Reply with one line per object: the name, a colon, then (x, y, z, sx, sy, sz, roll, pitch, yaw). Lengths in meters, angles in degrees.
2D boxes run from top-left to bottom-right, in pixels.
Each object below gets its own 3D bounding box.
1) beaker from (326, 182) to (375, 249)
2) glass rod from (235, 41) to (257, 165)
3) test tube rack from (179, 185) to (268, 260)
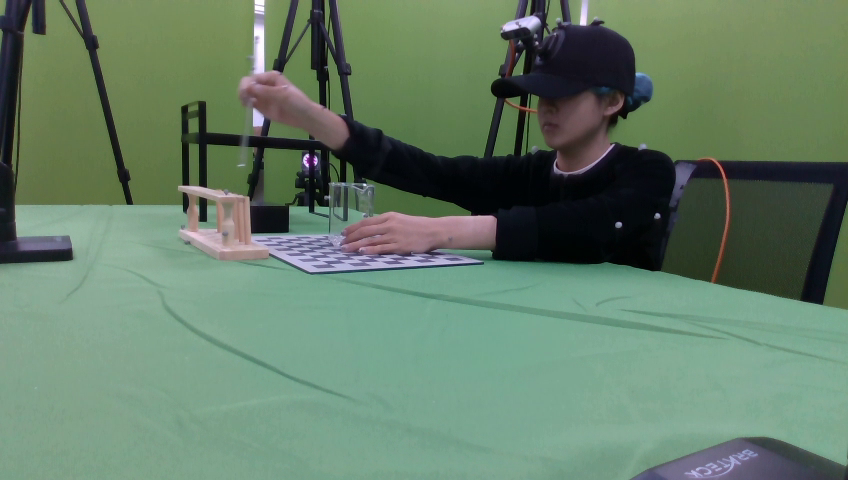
beaker: (-0.114, -0.039, 0.949, 0.074, 0.100, 0.083, -2, 9, -31)
glass rod: (-0.266, -0.207, 0.903, 0.008, 0.199, 0.008, 4, -12, 1)
test tube rack: (-0.303, -0.031, 0.898, 0.067, 0.085, 0.241, -2, 9, -33)
